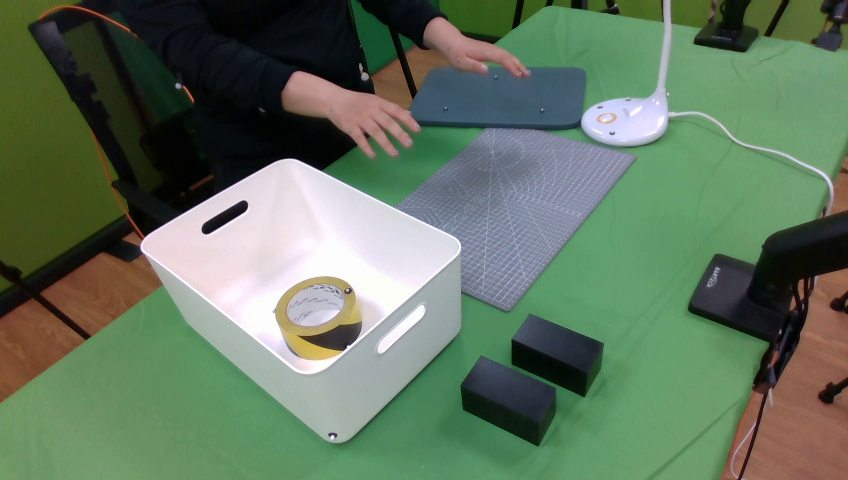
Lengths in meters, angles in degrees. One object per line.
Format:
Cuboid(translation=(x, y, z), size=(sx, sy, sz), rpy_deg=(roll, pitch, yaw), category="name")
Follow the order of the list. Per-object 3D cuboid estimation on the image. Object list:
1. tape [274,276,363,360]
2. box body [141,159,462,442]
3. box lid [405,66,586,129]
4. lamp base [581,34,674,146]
Cuboid(translation=(-0.144, 0.106, 0.833), size=(0.117, 0.053, 0.116), rpy_deg=(-4, 41, 4), category="tape")
Cuboid(translation=(-0.153, 0.063, 0.809), size=(0.361, 0.161, 0.255), rpy_deg=(27, 51, 33), category="box body")
Cuboid(translation=(0.163, -0.317, 1.322), size=(0.370, 0.015, 0.263), rpy_deg=(5, 42, 14), category="box lid")
Cuboid(translation=(0.392, -0.291, 1.129), size=(0.180, 0.181, 0.159), rpy_deg=(-11, 41, -8), category="lamp base")
